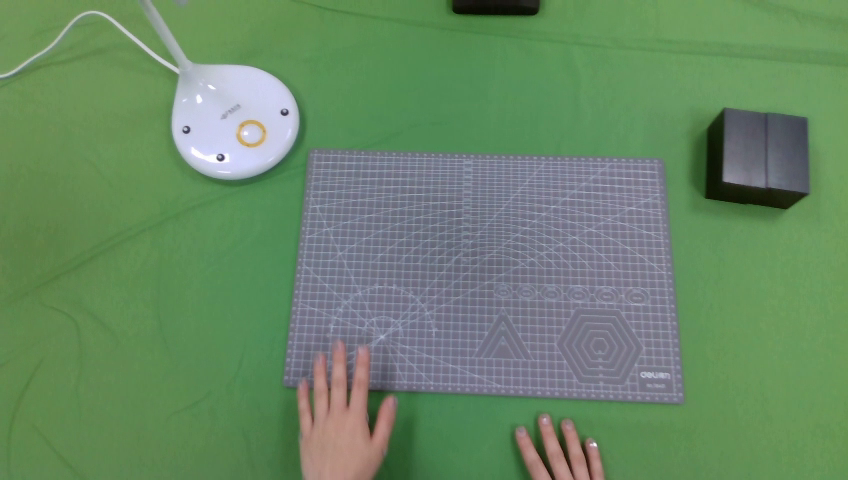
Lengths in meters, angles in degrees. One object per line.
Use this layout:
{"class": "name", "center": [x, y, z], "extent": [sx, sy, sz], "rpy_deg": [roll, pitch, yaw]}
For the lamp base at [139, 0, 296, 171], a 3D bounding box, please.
{"class": "lamp base", "center": [-0.256, -0.192, 0.705], "extent": [0.178, 0.181, 0.160], "rpy_deg": [35, 76, 14]}
